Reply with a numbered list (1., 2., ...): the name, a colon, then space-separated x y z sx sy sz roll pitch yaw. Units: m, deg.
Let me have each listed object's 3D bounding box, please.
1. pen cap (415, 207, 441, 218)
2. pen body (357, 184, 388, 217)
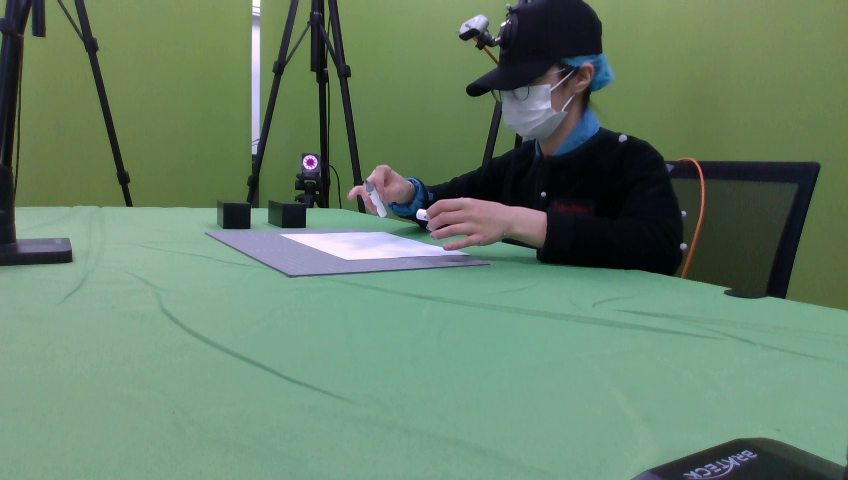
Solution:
1. pen cap: 0.007 -0.041 0.912 0.038 0.017 0.017 4 8 27
2. pen body: -0.091 -0.070 1.058 0.017 0.017 0.144 4 -16 16
